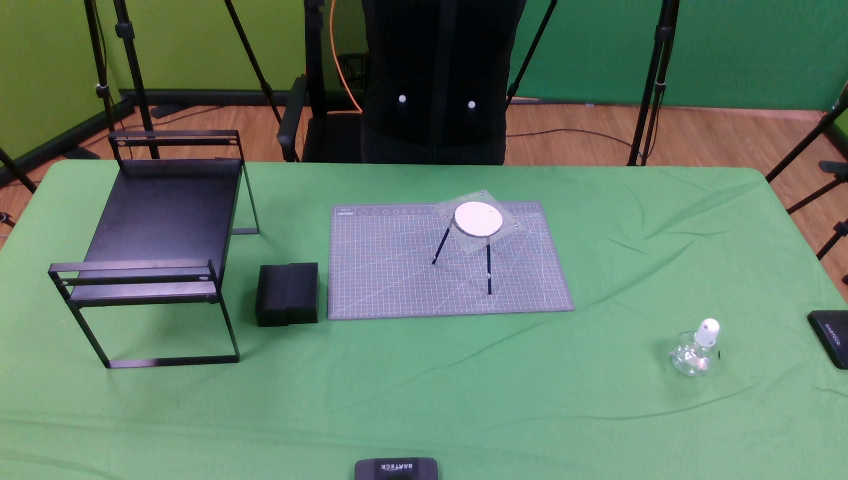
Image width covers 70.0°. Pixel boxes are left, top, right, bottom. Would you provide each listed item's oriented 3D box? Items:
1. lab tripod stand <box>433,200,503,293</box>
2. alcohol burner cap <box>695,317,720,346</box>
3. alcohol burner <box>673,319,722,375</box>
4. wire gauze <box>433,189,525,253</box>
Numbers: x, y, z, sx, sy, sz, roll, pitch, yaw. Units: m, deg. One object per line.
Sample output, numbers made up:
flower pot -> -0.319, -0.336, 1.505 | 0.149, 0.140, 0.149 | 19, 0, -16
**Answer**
lab tripod stand -> 0.095, 0.006, 1.115 | 0.148, 0.132, 0.147 | 3, 47, -3
alcohol burner cap -> 0.459, 0.145, 0.975 | 0.034, 0.048, 0.033 | -3, 45, 3
alcohol burner -> 0.458, 0.170, 1.002 | 0.078, 0.120, 0.077 | 2, 45, -2
wire gauze -> 0.095, -0.039, 1.065 | 0.121, 0.011, 0.124 | -20, 52, -23
